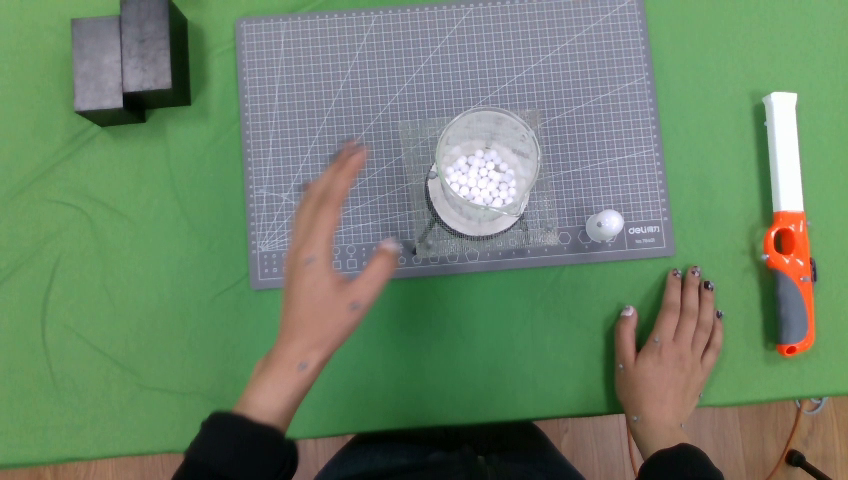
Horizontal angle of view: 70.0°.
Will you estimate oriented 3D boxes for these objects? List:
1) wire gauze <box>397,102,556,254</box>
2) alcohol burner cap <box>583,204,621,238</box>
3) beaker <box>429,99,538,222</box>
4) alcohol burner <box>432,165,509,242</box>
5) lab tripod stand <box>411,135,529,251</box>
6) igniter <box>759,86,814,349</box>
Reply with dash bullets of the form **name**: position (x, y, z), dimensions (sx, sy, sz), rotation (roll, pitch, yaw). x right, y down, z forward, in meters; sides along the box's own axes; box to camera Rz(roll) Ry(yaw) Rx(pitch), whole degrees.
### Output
- **wire gauze**: position (0.044, -0.054, 0.517), dimensions (0.125, 0.011, 0.121), rotation (-7, 82, 2)
- **alcohol burner cap**: position (0.186, -0.021, 0.626), dimensions (0.034, 0.048, 0.034), rotation (0, 83, 2)
- **beaker**: position (0.045, -0.052, 0.468), dimensions (0.074, 0.100, 0.083), rotation (-27, 84, -2)
- **alcohol burner**: position (0.046, -0.039, 0.591), dimensions (0.078, 0.119, 0.077), rotation (0, 82, -1)
- **lab tripod stand**: position (0.042, -0.043, 0.582), dimensions (0.148, 0.132, 0.148), rotation (0, 83, 2)
- **igniter**: position (0.379, -0.025, 0.637), dimensions (0.057, 0.025, 0.276), rotation (0, 85, -10)
